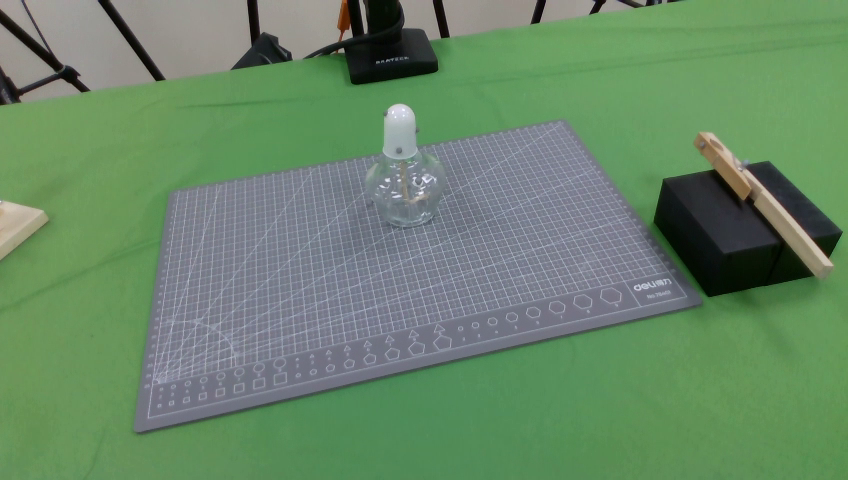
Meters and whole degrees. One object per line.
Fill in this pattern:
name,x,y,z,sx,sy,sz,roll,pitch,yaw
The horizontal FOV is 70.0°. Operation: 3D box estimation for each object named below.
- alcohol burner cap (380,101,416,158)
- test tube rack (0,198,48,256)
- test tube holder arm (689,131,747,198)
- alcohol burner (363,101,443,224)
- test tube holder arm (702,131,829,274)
alcohol burner cap,-0.023,-0.100,0.541,0.034,0.048,0.033,1,42,-1
test tube rack,-0.471,0.017,0.537,0.066,0.086,0.241,13,46,18
test tube holder arm,0.260,-0.068,0.533,0.010,0.015,0.087,-4,43,-11
alcohol burner,-0.021,-0.074,0.566,0.078,0.120,0.077,-3,41,3
test tube holder arm,0.274,-0.038,0.502,0.013,0.015,0.176,-5,43,-11
